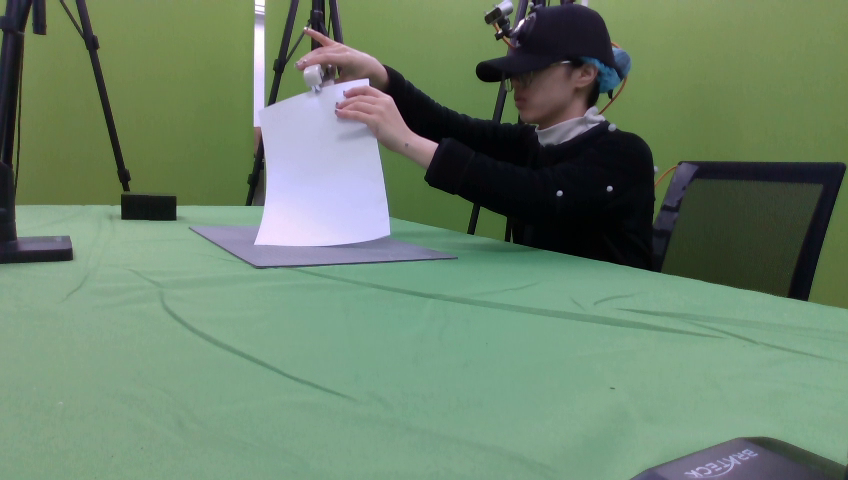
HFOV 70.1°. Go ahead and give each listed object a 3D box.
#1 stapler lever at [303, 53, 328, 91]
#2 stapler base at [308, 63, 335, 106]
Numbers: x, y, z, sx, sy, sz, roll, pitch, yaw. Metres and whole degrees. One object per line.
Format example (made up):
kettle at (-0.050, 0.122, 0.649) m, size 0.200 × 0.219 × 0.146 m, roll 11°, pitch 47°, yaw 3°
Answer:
stapler lever at (-0.190, -0.303, 1.064) m, size 0.027 × 0.040 × 0.118 m, roll -9°, pitch 43°, yaw 6°
stapler base at (-0.185, -0.285, 1.080) m, size 0.041 × 0.024 × 0.130 m, roll -9°, pitch 43°, yaw 6°
